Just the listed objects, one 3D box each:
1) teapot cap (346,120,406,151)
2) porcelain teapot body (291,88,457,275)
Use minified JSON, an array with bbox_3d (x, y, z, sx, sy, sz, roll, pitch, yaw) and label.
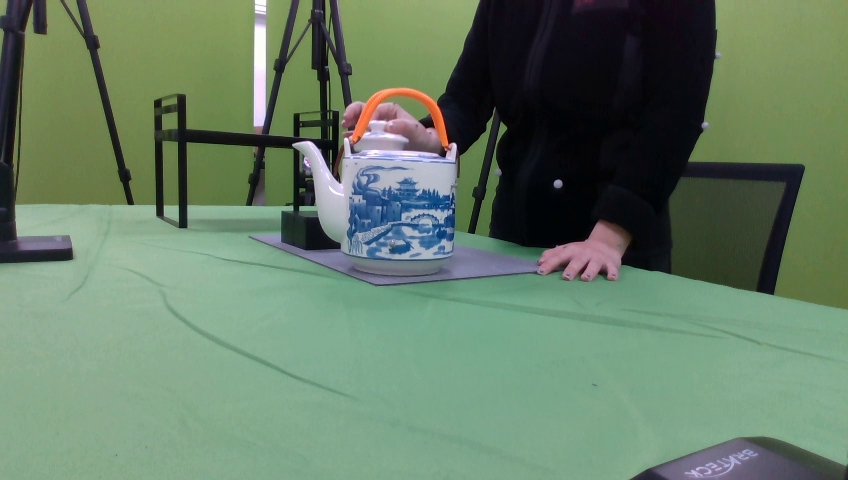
[{"bbox_3d":[-0.066,-0.143,0.835,0.085,0.044,0.085,0,9,0],"label":"teapot cap"},{"bbox_3d":[-0.060,-0.076,0.753,0.206,0.225,0.145,0,7,-11],"label":"porcelain teapot body"}]
